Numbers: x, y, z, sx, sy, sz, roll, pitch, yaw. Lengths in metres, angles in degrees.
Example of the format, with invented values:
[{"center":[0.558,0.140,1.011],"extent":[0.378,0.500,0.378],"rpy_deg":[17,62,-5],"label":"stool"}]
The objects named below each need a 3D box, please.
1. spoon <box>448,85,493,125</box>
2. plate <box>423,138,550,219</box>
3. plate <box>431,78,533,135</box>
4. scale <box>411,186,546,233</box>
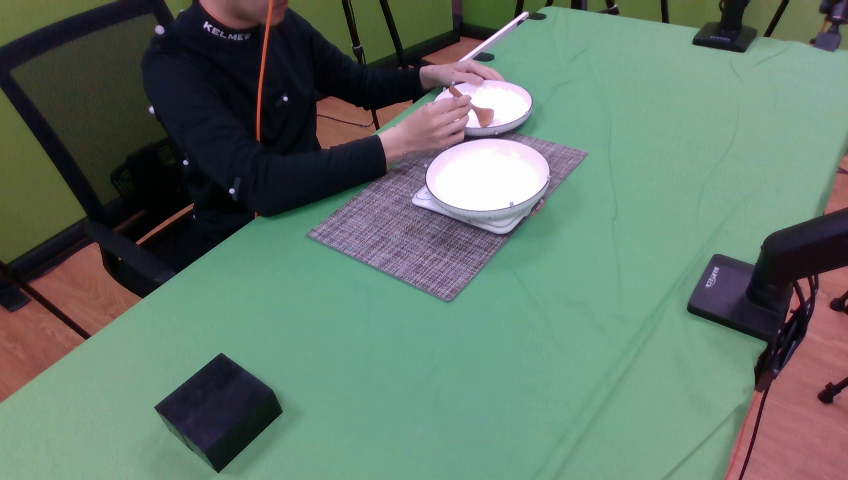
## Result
[{"center":[0.087,-0.255,1.139],"extent":[0.021,0.195,0.041],"rpy_deg":[45,105,28],"label":"spoon"},{"center":[0.104,-0.099,1.005],"extent":[0.207,0.039,0.206],"rpy_deg":[-4,41,4],"label":"plate"},{"center":[0.120,-0.271,1.249],"extent":[0.209,0.038,0.208],"rpy_deg":[-4,40,4],"label":"plate"},{"center":[0.092,-0.083,1.039],"extent":[0.199,0.032,0.149],"rpy_deg":[22,48,30],"label":"scale"}]
